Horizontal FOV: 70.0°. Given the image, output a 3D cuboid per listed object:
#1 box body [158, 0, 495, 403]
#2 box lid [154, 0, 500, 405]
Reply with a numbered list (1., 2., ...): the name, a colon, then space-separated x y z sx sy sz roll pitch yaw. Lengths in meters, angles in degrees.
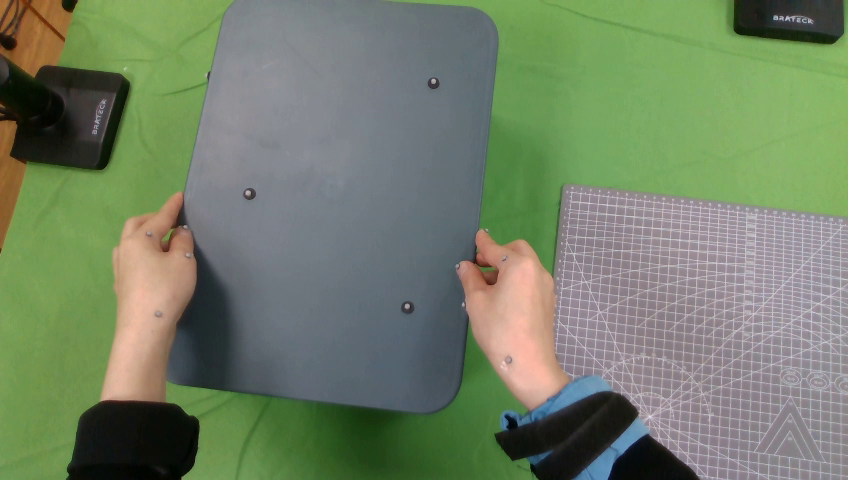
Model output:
1. box body: -0.075 -0.037 0.605 0.254 0.161 0.362 6 78 4
2. box lid: -0.078 -0.056 0.534 0.263 0.015 0.370 6 79 4
